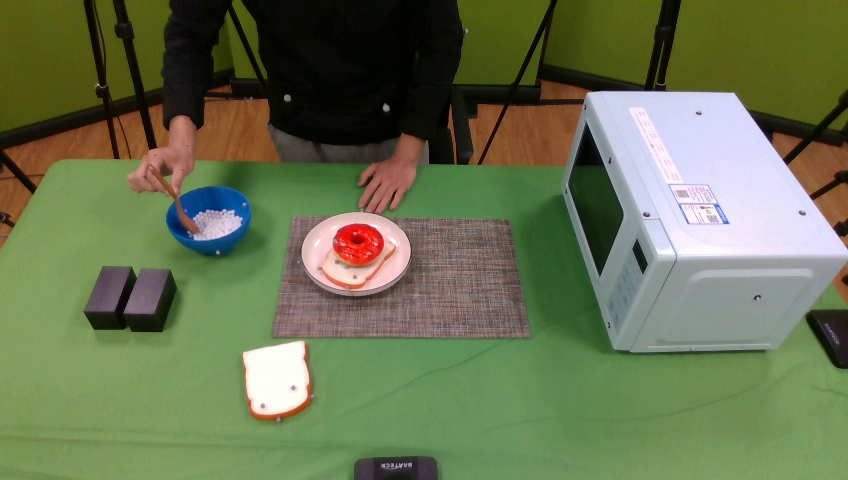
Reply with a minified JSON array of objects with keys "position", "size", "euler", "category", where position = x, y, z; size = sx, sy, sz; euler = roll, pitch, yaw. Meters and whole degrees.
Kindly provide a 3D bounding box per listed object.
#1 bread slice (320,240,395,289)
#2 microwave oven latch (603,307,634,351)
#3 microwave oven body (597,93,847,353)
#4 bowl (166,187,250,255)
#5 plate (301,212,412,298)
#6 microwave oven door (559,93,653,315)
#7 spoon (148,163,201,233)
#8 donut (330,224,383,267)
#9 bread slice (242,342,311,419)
[{"position":[-0.129,0.037,1.140],"size":[0.107,0.018,0.134],"euler":[19,47,14],"category":"bread slice"},{"position":[0.332,0.153,1.044],"size":[0.030,0.029,0.078],"euler":[0,45,-4],"category":"microwave oven latch"},{"position":[0.475,-0.041,1.109],"size":[0.326,0.261,0.438],"euler":[-1,45,-4],"category":"microwave oven body"},{"position":[-0.403,-0.024,1.155],"size":[0.151,0.077,0.150],"euler":[2,46,-2],"category":"bowl"},{"position":[-0.126,0.031,1.145],"size":[0.208,0.039,0.206],"euler":[2,46,-2],"category":"plate"},{"position":[0.327,-0.074,1.123],"size":[0.039,0.245,0.353],"euler":[-1,46,-5],"category":"microwave oven door"},{"position":[-0.442,-0.073,1.076],"size":[0.021,0.195,0.041],"euler":[-23,56,-13],"category":"spoon"},{"position":[-0.125,0.010,1.127],"size":[0.099,0.048,0.098],"euler":[3,45,-3],"category":"donut"},{"position":[-0.234,0.223,0.970],"size":[0.105,0.019,0.130],"euler":[-10,46,-13],"category":"bread slice"}]
